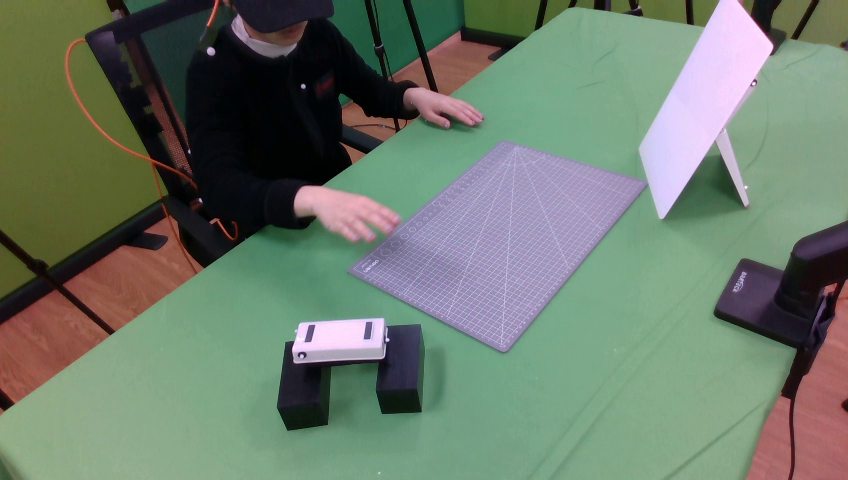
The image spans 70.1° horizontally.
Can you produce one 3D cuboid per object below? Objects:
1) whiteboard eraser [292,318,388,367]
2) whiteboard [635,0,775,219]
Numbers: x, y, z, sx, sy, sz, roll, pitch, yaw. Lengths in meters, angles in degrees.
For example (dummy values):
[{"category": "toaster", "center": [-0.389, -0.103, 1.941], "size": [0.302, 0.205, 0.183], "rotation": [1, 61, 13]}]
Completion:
[{"category": "whiteboard eraser", "center": [-0.103, 0.128, 0.748], "size": [0.113, 0.042, 0.055], "rotation": [-3, 38, 2]}, {"category": "whiteboard", "center": [0.486, -0.192, 0.956], "size": [0.144, 0.305, 0.216], "rotation": [14, 41, -4]}]
